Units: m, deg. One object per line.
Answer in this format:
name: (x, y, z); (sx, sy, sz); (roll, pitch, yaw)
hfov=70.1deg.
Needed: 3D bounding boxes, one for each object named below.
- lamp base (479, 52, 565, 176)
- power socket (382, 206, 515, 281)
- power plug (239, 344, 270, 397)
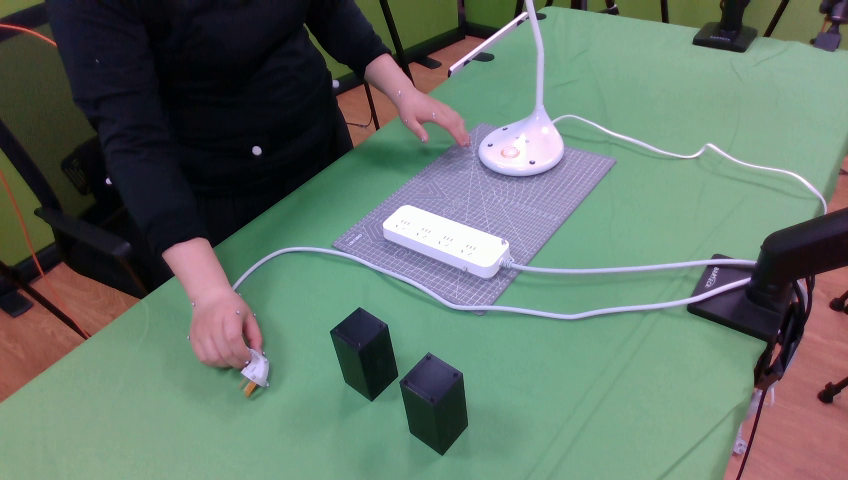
lamp base: (0.182, -0.235, 1.093); (0.159, 0.181, 0.179); (18, 44, 27)
power socket: (0.032, 0.002, 0.950); (0.225, 0.033, 0.072); (21, 49, 29)
power plug: (-0.228, 0.175, 0.797); (0.072, 0.035, 0.052); (13, 63, 54)
